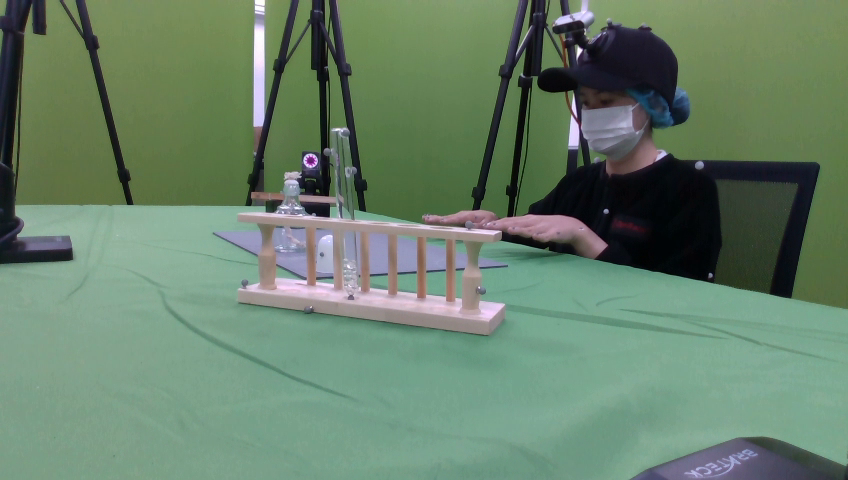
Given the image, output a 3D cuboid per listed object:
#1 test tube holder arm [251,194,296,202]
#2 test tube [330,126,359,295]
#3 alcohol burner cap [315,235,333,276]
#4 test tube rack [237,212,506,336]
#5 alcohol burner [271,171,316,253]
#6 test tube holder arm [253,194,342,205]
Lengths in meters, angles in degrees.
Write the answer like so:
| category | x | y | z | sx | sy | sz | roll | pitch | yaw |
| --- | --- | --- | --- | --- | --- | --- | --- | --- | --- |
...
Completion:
| category | x | y | z | sx | sy | sz | roll | pitch | yaw |
| --- | --- | --- | --- | --- | --- | --- | --- | --- | --- |
| test tube holder arm | -0.300 | -0.084 | 1.207 | 0.088 | 0.015 | 0.010 | 3 | 6 | -5 |
| test tube | -0.070 | -0.024 | 0.533 | 0.017 | 0.150 | 0.017 | -3 | 10 | 1 |
| alcohol burner cap | -0.116 | 0.018 | 0.728 | 0.034 | 0.048 | 0.034 | 3 | 6 | 0 |
| test tube rack | -0.049 | 0.024 | 0.552 | 0.242 | 0.085 | 0.067 | 5 | 8 | 18 |
| alcohol burner | -0.196 | -0.041 | 0.884 | 0.078 | 0.119 | 0.078 | 3 | 5 | 0 |
| test tube holder arm | -0.256 | -0.082 | 1.218 | 0.179 | 0.015 | 0.013 | 3 | 6 | -7 |
